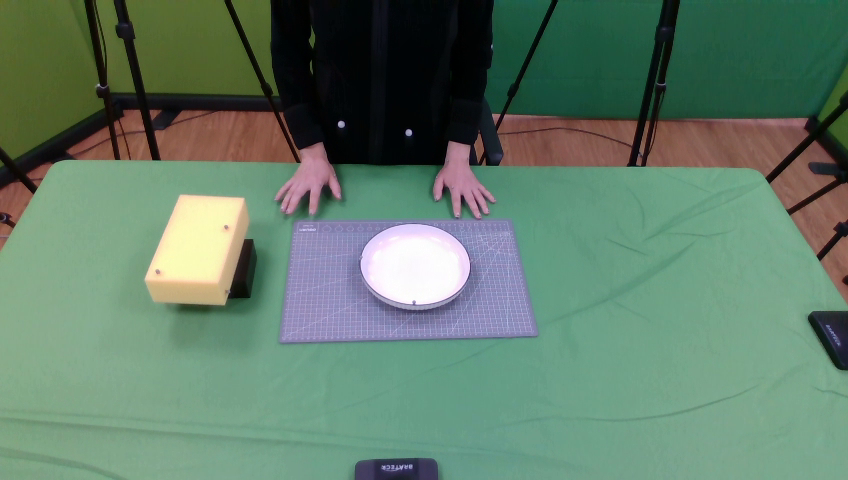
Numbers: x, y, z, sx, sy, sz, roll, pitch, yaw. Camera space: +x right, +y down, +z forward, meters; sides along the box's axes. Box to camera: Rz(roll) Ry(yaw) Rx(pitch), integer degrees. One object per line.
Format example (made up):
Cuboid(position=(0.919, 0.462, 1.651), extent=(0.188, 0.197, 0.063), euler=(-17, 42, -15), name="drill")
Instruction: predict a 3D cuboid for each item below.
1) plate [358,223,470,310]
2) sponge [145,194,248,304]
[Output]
Cuboid(position=(-0.019, 0.052, 1.132), extent=(0.209, 0.038, 0.208), euler=(2, 46, -2), name="plate")
Cuboid(position=(-0.391, 0.012, 1.059), extent=(0.118, 0.061, 0.205), euler=(2, 46, -3), name="sponge")
